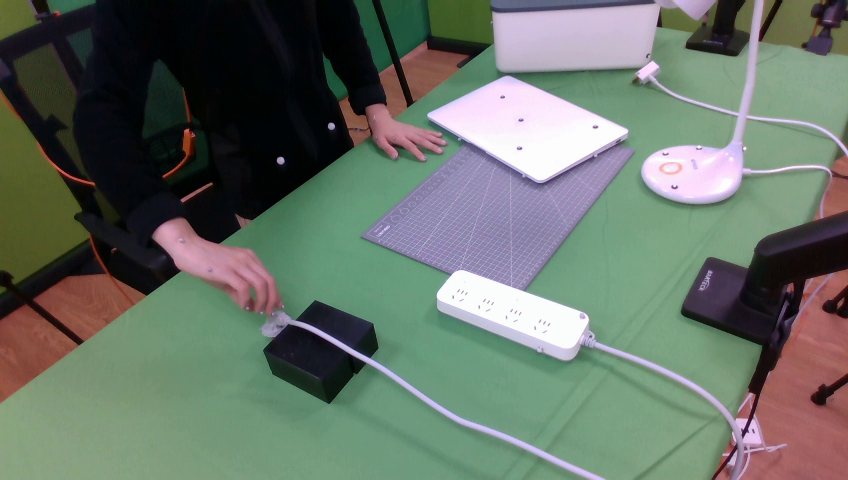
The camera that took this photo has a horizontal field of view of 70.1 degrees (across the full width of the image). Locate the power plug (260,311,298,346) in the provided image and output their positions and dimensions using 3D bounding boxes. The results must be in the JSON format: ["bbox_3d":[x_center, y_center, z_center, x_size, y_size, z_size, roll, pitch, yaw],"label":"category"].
[{"bbox_3d":[-0.197,0.126,0.822,0.035,0.053,0.072,-16,23,-29],"label":"power plug"}]

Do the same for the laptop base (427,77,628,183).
[{"bbox_3d":[0.199,-0.229,1.222,0.236,0.023,0.351,-31,45,-22],"label":"laptop base"}]

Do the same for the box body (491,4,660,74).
[{"bbox_3d":[0.346,-0.520,1.429,0.363,0.161,0.253,0,41,9],"label":"box body"}]

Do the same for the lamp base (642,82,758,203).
[{"bbox_3d":[0.464,-0.174,0.992,0.179,0.181,0.159,-5,41,-1],"label":"lamp base"}]

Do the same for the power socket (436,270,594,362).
[{"bbox_3d":[0.118,0.101,0.832,0.225,0.033,0.072,19,48,27],"label":"power socket"}]

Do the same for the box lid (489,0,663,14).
[{"bbox_3d":[0.340,-0.575,1.380,0.371,0.015,0.262,0,41,9],"label":"box lid"}]

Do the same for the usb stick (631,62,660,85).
[{"bbox_3d":[0.480,-0.358,1.317,0.059,0.022,0.027,-35,56,14],"label":"usb stick"}]

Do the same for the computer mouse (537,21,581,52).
[{"bbox_3d":[0.335,-0.503,1.487,0.118,0.041,0.062,22,18,-28],"label":"computer mouse"}]

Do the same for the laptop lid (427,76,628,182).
[{"bbox_3d":[0.196,-0.237,1.213,0.242,0.013,0.353,-29,44,-21],"label":"laptop lid"}]

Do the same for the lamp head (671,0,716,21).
[{"bbox_3d":[0.375,-0.373,0.807,0.122,0.113,0.112,-40,27,32],"label":"lamp head"}]
